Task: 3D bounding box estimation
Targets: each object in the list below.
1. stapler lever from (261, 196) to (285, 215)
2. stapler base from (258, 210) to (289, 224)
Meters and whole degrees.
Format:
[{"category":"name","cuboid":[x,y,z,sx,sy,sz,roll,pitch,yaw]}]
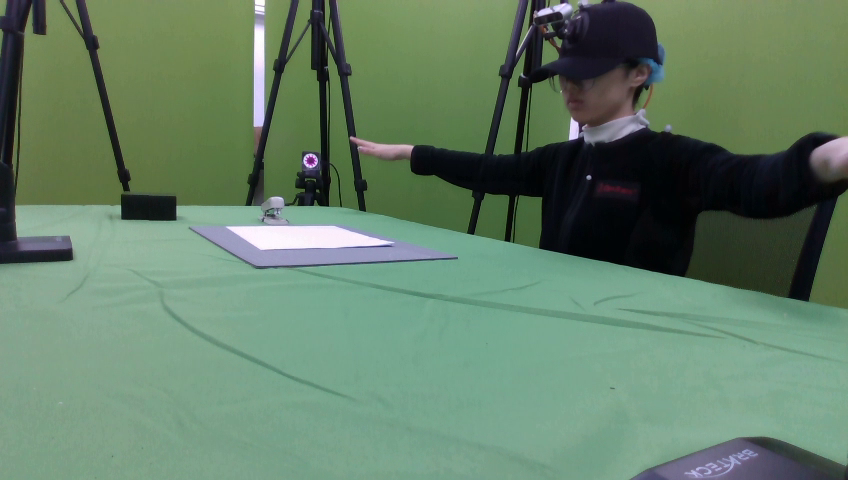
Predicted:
[{"category":"stapler lever","cuboid":[-0.323,-0.076,1.293,0.027,0.040,0.117,1,6,-27]},{"category":"stapler base","cuboid":[-0.323,-0.052,1.295,0.041,0.024,0.130,1,5,-27]}]
